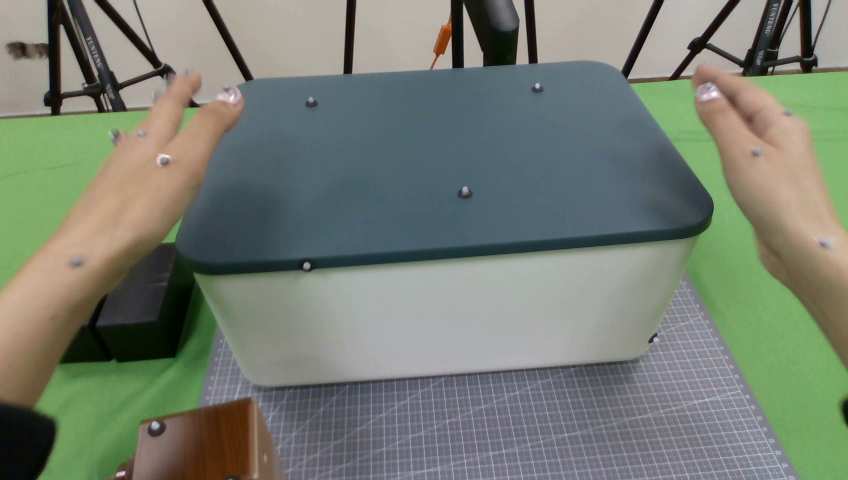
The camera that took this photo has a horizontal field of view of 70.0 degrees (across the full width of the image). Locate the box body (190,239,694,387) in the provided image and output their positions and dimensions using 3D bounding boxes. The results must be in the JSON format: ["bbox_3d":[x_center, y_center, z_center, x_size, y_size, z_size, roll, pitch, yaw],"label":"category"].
[{"bbox_3d":[0.011,-0.019,0.542,0.364,0.162,0.251,-4,42,-2],"label":"box body"}]

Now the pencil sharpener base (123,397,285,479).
[{"bbox_3d":[-0.135,0.159,0.386,0.077,0.108,0.060,-10,43,-8],"label":"pencil sharpener base"}]

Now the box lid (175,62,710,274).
[{"bbox_3d":[0.007,-0.075,0.492,0.372,0.015,0.260,-4,41,-2],"label":"box lid"}]

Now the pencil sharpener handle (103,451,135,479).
[{"bbox_3d":[-0.185,0.158,0.370,0.031,0.068,0.035,-10,45,-8],"label":"pencil sharpener handle"}]
